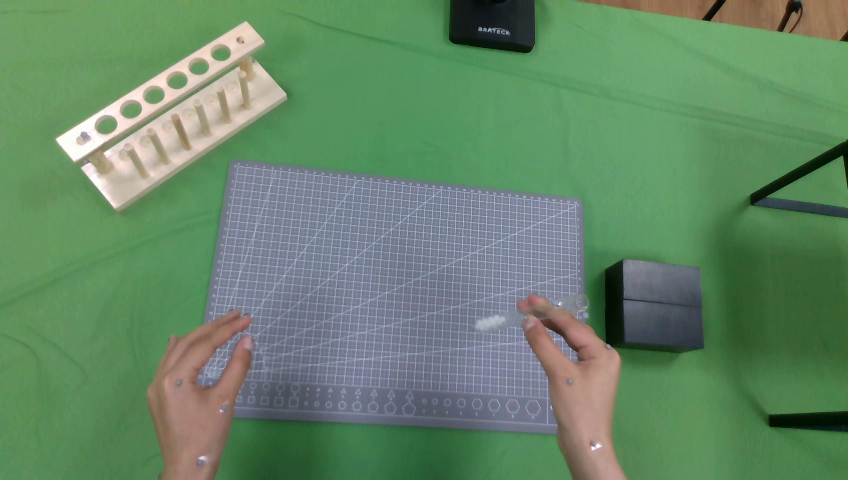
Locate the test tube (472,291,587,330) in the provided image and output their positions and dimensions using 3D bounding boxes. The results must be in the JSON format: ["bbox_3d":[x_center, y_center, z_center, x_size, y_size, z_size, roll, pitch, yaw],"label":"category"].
[{"bbox_3d":[0.092,0.068,0.564,0.017,0.150,0.017,10,71,-30],"label":"test tube"}]

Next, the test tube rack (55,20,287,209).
[{"bbox_3d":[-0.278,-0.145,0.697,0.242,0.085,0.066,-40,83,-18],"label":"test tube rack"}]
